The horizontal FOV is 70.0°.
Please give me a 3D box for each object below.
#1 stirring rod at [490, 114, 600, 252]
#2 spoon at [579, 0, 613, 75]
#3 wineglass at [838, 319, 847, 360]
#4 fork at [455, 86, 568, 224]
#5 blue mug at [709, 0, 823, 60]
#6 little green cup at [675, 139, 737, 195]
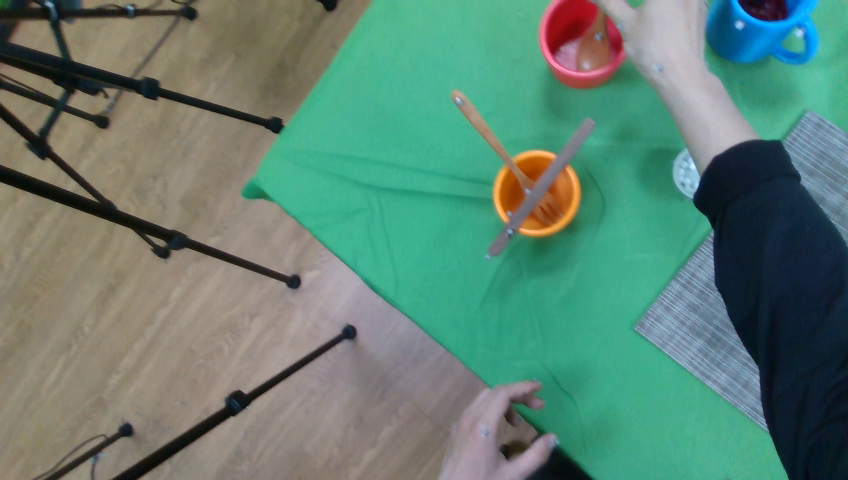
[{"bbox_3d":[0.127,-0.059,0.641,0.014,0.006,0.176,38,96,12],"label":"stirring rod"},{"bbox_3d":[0.185,-0.239,0.597,0.021,0.195,0.041,-38,67,-15],"label":"spoon"},{"bbox_3d":[0.451,0.103,0.552,0.073,0.173,0.073,0,89,13],"label":"wineglass"},{"bbox_3d":[0.096,-0.087,0.649,0.028,0.018,0.209,-36,126,15],"label":"fork"},{"bbox_3d":[0.356,-0.231,0.614,0.082,0.106,0.116,-40,82,10],"label":"blue mug"},{"bbox_3d":[0.304,-0.077,0.660,0.061,0.039,0.061,0,90,14],"label":"little green cup"}]
